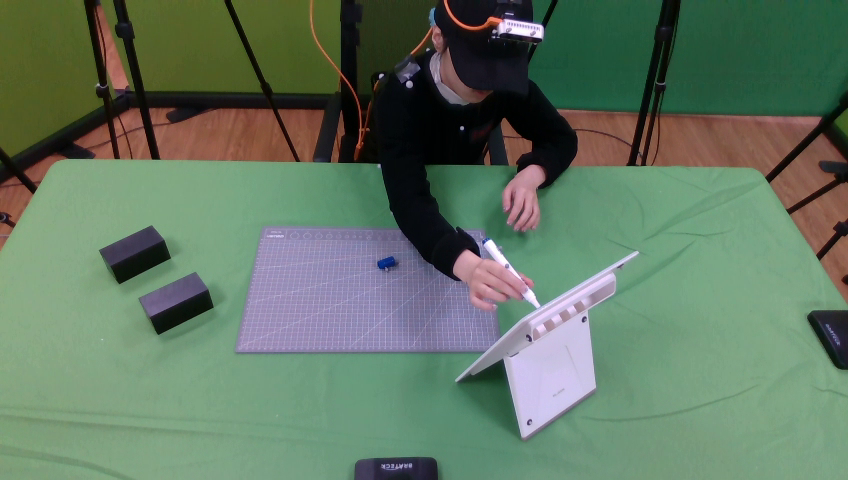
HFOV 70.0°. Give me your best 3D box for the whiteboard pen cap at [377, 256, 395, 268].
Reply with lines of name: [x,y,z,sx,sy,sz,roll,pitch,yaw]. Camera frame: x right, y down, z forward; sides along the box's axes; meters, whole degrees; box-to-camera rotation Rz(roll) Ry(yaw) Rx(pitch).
whiteboard pen cap: [-0.072,0.042,1.149,0.033,0.018,0.018,-18,50,-15]

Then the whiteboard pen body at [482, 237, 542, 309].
whiteboard pen body: [0.134,0.051,0.906,0.017,0.017,0.140,-28,70,-27]

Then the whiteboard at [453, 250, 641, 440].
whiteboard: [0.206,0.175,0.890,0.217,0.306,0.143,-25,72,-25]
